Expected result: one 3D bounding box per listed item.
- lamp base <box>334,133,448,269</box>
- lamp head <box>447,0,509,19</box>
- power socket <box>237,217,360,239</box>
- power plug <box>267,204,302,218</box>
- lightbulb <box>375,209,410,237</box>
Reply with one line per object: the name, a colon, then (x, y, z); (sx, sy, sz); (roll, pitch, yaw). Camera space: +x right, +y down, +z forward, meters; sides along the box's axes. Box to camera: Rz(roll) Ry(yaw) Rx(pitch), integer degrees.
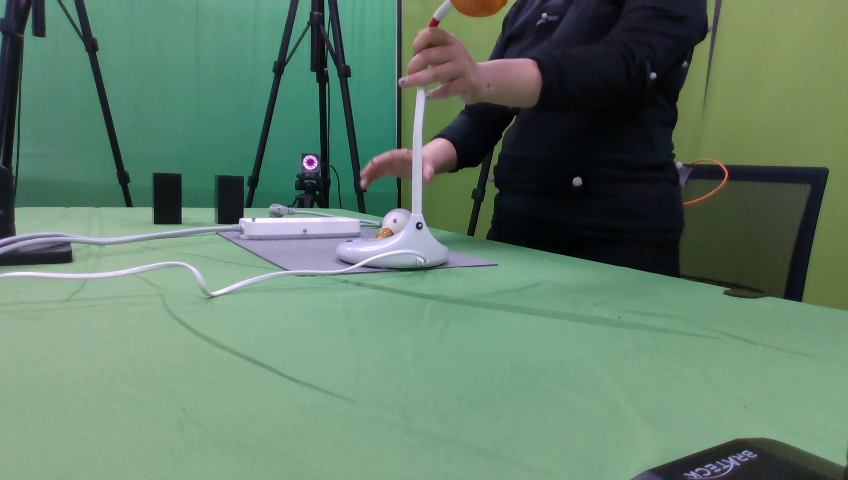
lamp base: (-0.034, -0.057, 0.831); (0.161, 0.180, 0.178); (-2, 11, -36)
lamp head: (0.062, -0.323, 0.705); (0.112, 0.122, 0.112); (5, -3, 1)
power socket: (-0.220, -0.023, 1.080); (0.228, 0.032, 0.072); (-2, 8, -33)
power plug: (-0.327, -0.060, 1.404); (0.073, 0.035, 0.052); (22, -14, -25)
lightbulb: (-0.052, -0.016, 1.023); (0.059, 0.059, 0.108); (6, 23, 21)
